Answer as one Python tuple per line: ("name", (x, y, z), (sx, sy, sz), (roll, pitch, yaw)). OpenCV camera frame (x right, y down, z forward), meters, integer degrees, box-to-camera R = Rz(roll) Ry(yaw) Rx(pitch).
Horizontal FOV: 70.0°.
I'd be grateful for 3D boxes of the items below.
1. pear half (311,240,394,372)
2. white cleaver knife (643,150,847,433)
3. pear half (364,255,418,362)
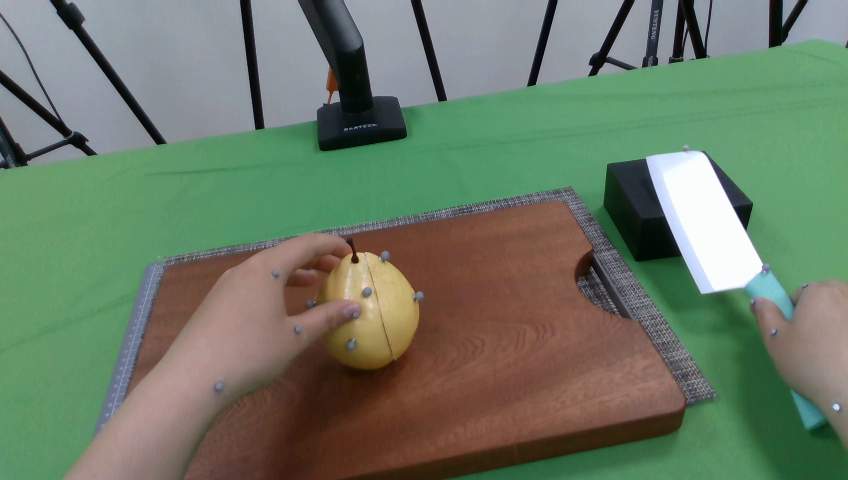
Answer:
("pear half", (-0.057, 0.047, 0.443), (0.056, 0.111, 0.075), (-15, 34, -10))
("white cleaver knife", (0.251, 0.024, 0.503), (0.066, 0.022, 0.283), (-15, 48, 9))
("pear half", (-0.022, 0.047, 0.454), (0.031, 0.089, 0.069), (-15, 30, -10))
